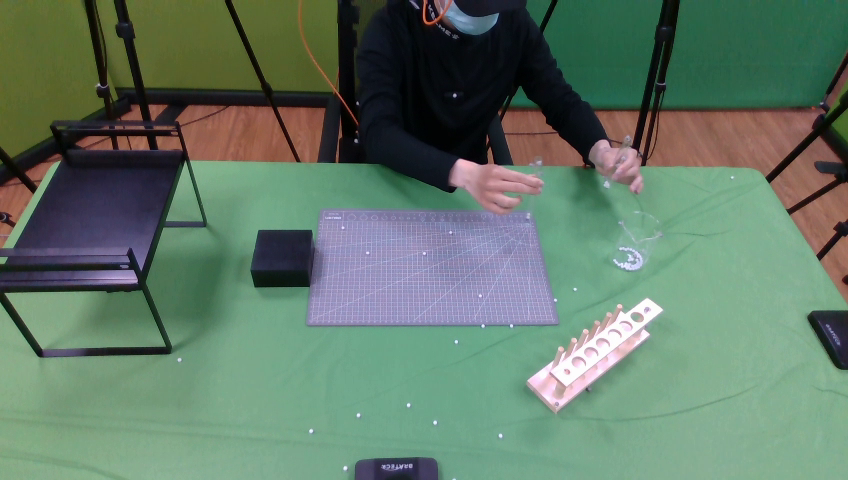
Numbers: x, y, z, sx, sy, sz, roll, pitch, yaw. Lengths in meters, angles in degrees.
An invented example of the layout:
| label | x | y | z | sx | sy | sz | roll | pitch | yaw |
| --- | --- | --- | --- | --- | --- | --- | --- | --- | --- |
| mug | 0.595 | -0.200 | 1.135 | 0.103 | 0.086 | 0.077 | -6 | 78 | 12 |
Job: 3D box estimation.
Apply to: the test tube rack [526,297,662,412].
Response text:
| label | x | y | z | sx | sy | sz | roll | pitch | yaw |
| --- | --- | --- | --- | --- | --- | --- | --- | --- | --- |
| test tube rack | 0.284 | 0.176 | 1.007 | 0.242 | 0.085 | 0.066 | -28 | 54 | -27 |

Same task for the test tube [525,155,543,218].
| label | x | y | z | sx | sy | sz | roll | pitch | yaw |
| --- | --- | --- | --- | --- | --- | --- | --- | --- | --- |
| test tube | 0.204 | -0.096 | 1.126 | 0.017 | 0.151 | 0.017 | 0 | 47 | 0 |

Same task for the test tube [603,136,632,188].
| label | x | y | z | sx | sy | sz | roll | pitch | yaw |
| --- | --- | --- | --- | --- | --- | --- | --- | --- | --- |
| test tube | 0.380 | -0.151 | 1.195 | 0.017 | 0.151 | 0.017 | 1 | 59 | -1 |

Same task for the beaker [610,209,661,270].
| label | x | y | z | sx | sy | sz | roll | pitch | yaw |
| --- | --- | --- | --- | --- | --- | --- | --- | --- | --- |
| beaker | 0.404 | 0.005 | 1.170 | 0.074 | 0.101 | 0.083 | 19 | 49 | 15 |
